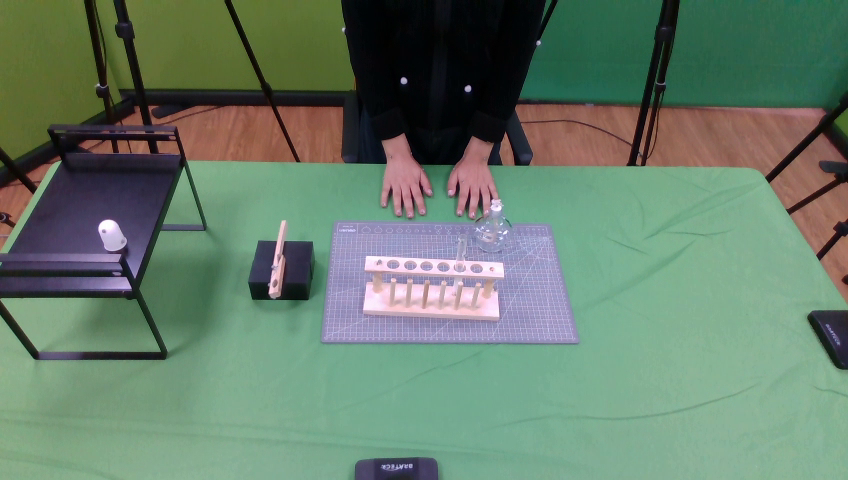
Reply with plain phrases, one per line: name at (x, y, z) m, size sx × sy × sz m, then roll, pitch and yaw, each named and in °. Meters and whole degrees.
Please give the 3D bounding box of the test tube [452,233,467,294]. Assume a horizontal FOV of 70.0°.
test tube at (0.061, 0.045, 1.044) m, size 0.017 × 0.151 × 0.017 m, roll 1°, pitch 47°, yaw -1°

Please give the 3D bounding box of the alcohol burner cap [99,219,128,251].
alcohol burner cap at (-0.466, -0.010, 0.907) m, size 0.034 × 0.048 × 0.033 m, roll 1°, pitch 47°, yaw -1°

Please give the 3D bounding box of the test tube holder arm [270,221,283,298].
test tube holder arm at (-0.264, 0.031, 1.086) m, size 0.013 × 0.015 × 0.177 m, roll -6°, pitch 46°, yaw -4°

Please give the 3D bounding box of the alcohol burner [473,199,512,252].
alcohol burner at (0.135, -0.034, 1.174) m, size 0.078 × 0.120 × 0.077 m, roll 1°, pitch 47°, yaw -1°

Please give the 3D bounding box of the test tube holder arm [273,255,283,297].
test tube holder arm at (-0.253, 0.062, 1.055) m, size 0.010 × 0.015 × 0.087 m, roll -5°, pitch 46°, yaw -3°

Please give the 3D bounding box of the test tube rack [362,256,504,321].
test tube rack at (0.015, 0.085, 1.069) m, size 0.242 × 0.085 × 0.066 m, roll 3°, pitch 45°, yaw -2°
